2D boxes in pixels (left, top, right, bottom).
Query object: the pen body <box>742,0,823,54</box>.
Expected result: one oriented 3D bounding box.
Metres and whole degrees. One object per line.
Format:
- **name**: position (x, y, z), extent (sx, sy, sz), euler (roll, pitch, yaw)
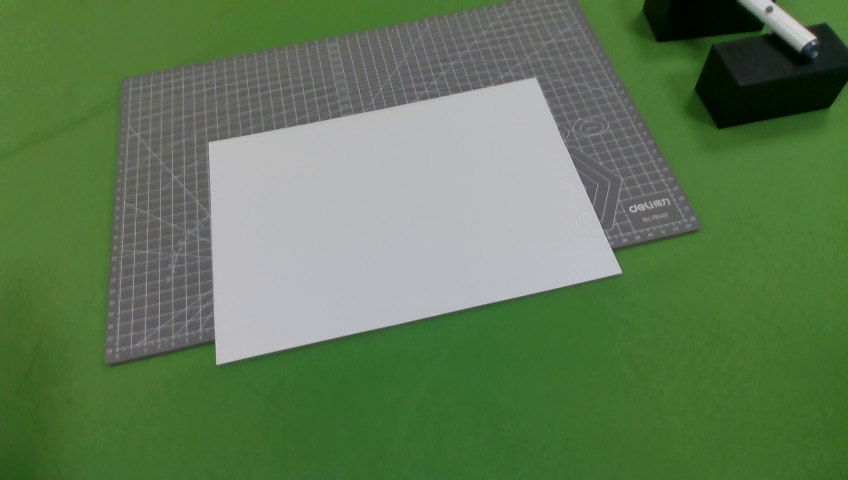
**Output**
- **pen body**: position (0.274, -0.204, 0.506), extent (0.017, 0.017, 0.142), euler (-23, 60, -9)
